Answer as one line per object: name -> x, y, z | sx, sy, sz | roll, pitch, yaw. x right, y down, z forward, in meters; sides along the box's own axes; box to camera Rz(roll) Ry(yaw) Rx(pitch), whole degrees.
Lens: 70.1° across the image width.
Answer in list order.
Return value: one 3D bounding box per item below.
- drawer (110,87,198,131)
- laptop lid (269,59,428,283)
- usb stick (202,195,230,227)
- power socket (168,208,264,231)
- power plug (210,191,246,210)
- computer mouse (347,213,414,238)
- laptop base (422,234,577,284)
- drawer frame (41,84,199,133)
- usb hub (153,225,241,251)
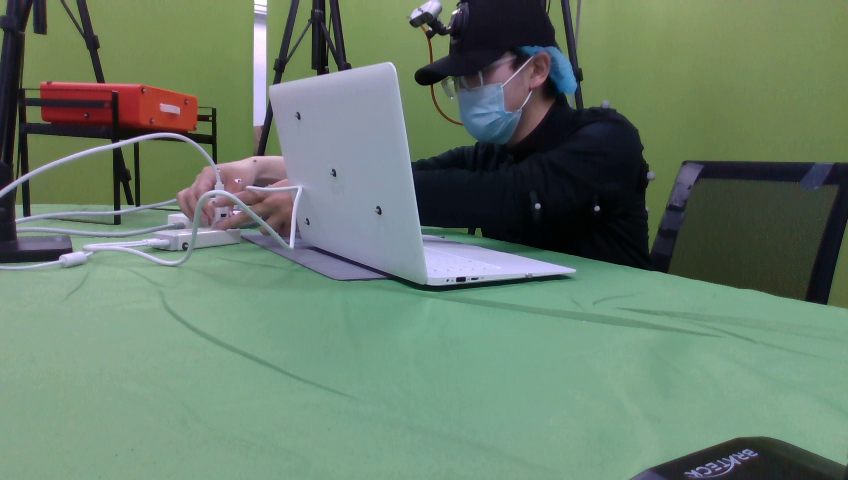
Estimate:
drawer -> -0.602, -0.263, 1.225 | 0.211, 0.073, 0.195 | 3, 8, 10
laptop lid -> -0.110, -0.087, 0.752 | 0.013, 0.241, 0.355 | -18, 19, -30
usb stick -> -0.327, -0.039, 0.946 | 0.027, 0.059, 0.021 | 32, 18, 21
power socket -> -0.381, -0.038, 1.128 | 0.072, 0.032, 0.227 | 4, 8, 17
power plug -> -0.386, -0.071, 1.203 | 0.072, 0.052, 0.035 | 8, 11, 25
computer mouse -> -0.079, -0.026, 1.080 | 0.117, 0.041, 0.062 | -5, 12, -18
laptop base -> 0.007, 0.022, 0.850 | 0.237, 0.023, 0.352 | 1, 7, -34
drawer frame -> -0.604, -0.264, 1.225 | 0.213, 0.082, 0.202 | 3, 8, 8
usb hub -> -0.337, -0.004, 0.906 | 0.049, 0.025, 0.125 | 6, 9, 28
